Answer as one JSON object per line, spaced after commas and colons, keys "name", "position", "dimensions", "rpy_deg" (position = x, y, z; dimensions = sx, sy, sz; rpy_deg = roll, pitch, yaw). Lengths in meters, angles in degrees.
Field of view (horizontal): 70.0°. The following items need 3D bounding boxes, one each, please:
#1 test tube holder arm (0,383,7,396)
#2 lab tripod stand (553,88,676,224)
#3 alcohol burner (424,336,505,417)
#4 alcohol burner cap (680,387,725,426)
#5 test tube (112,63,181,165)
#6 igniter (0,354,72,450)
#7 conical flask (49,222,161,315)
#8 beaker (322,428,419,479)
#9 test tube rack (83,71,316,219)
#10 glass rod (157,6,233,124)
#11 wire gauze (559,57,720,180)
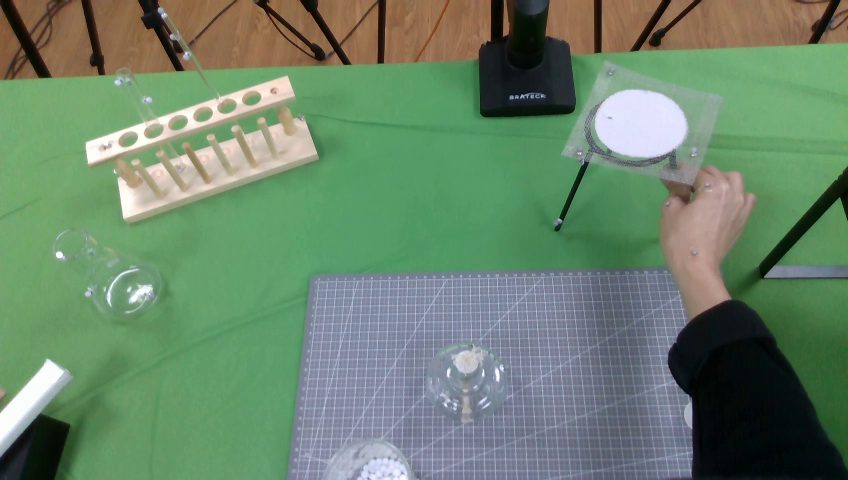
{"name": "test tube holder arm", "position": [-0.437, 0.175, 0.577], "dimensions": [0.010, 0.015, 0.087], "rpy_deg": [43, 71, -9]}
{"name": "lab tripod stand", "position": [0.208, -0.082, 0.640], "dimensions": [0.148, 0.132, 0.147], "rpy_deg": [-2, 59, 4]}
{"name": "alcohol burner", "position": [0.038, 0.121, 0.563], "dimensions": [0.078, 0.120, 0.077], "rpy_deg": [-1, 62, 3]}
{"name": "alcohol burner cap", "position": [0.263, 0.154, 0.568], "dimensions": [0.034, 0.048, 0.033], "rpy_deg": [-2, 64, 4]}
{"name": "test tube", "position": [-0.310, -0.138, 0.687], "dimensions": [0.017, 0.151, 0.017], "rpy_deg": [-2, 57, 3]}
{"name": "igniter", "position": [-0.435, 0.225, 0.549], "dimensions": [0.057, 0.025, 0.275], "rpy_deg": [25, 66, 26]}
{"name": "conical flask", "position": [-0.341, 0.025, 0.642], "dimensions": [0.075, 0.123, 0.074], "rpy_deg": [-2, 62, 4]}
{"name": "beaker", "position": [-0.044, 0.216, 0.530], "dimensions": [0.073, 0.101, 0.083], "rpy_deg": [26, 69, 18]}
{"name": "test tube rack", "position": [-0.263, -0.113, 0.727], "dimensions": [0.242, 0.086, 0.066], "rpy_deg": [-20, 63, -6]}
{"name": "glass rod", "position": [-0.245, -0.175, 0.682], "dimensions": [0.008, 0.202, 0.008], "rpy_deg": [-6, 56, 9]}
{"name": "wire gauze", "position": [0.209, -0.119, 0.583], "dimensions": [0.121, 0.011, 0.124], "rpy_deg": [21, 65, 16]}
